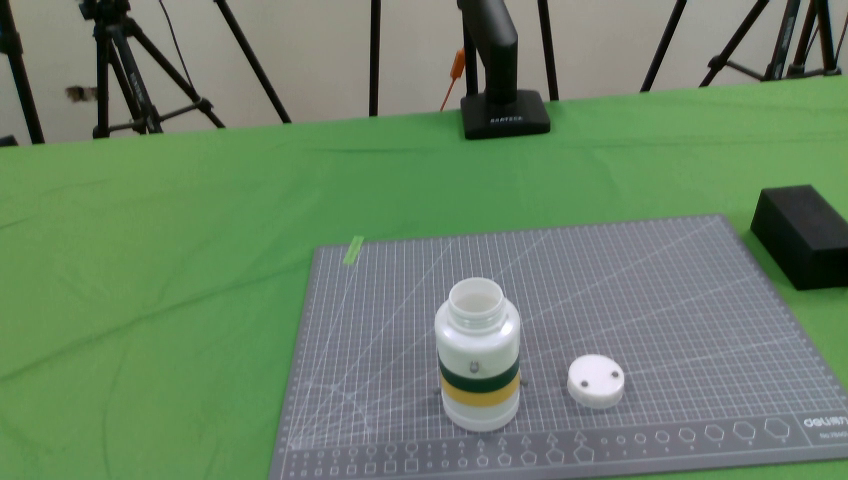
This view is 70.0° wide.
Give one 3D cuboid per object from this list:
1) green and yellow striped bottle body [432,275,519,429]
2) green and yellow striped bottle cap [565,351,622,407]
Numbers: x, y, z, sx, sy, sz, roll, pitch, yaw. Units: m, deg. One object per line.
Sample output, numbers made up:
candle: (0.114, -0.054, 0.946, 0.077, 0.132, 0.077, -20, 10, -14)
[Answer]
green and yellow striped bottle body: (0.040, 0.083, 0.457, 0.063, 0.121, 0.062, -4, 39, 3)
green and yellow striped bottle cap: (0.137, 0.112, 0.493, 0.045, 0.020, 0.045, -3, 40, 3)
